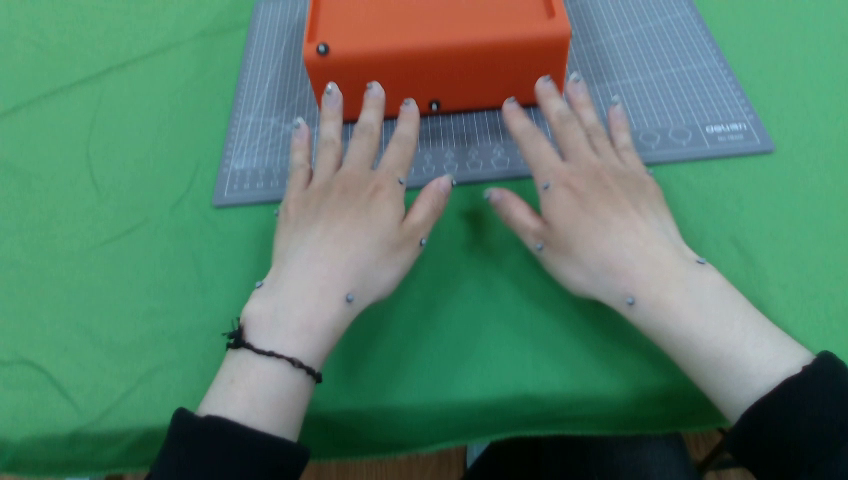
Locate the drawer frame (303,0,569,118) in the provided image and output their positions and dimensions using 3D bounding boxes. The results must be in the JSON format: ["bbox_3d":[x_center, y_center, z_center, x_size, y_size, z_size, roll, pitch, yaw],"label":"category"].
[{"bbox_3d":[0.010,-0.211,0.553,0.213,0.083,0.199,-6,54,3],"label":"drawer frame"}]

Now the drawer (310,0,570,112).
[{"bbox_3d":[0.012,-0.211,0.555,0.212,0.074,0.192,-5,54,3],"label":"drawer"}]

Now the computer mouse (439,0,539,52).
[{"bbox_3d":[0.061,-0.210,0.552,0.062,0.041,0.116,5,39,29],"label":"computer mouse"}]
